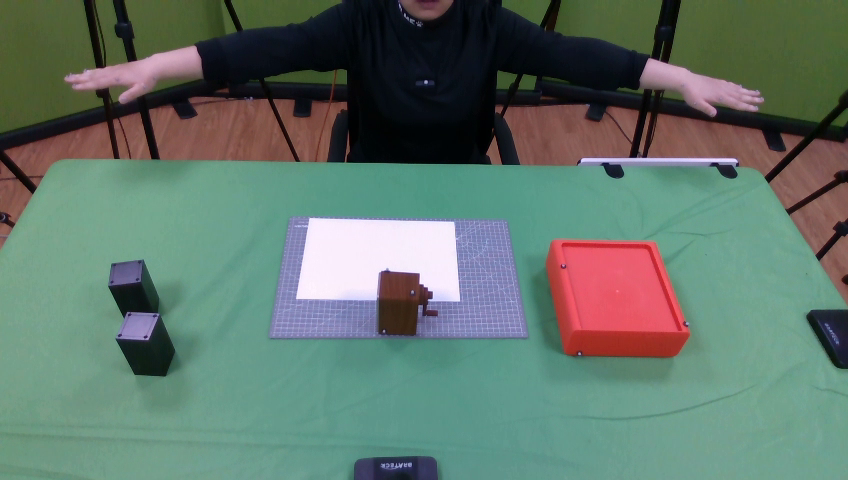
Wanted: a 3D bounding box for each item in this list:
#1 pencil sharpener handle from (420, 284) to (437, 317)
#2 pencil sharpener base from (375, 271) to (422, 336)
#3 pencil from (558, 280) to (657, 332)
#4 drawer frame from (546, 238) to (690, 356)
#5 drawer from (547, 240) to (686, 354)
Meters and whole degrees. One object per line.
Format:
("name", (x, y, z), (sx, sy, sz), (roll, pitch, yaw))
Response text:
("pencil sharpener handle", (0.009, 0.104, 1.017), (0.030, 0.068, 0.036), (3, 40, -2))
("pencil sharpener base", (-0.043, 0.109, 1.025), (0.077, 0.107, 0.061), (3, 45, -2))
("pencil", (0.334, 0.121, 1.104), (0.193, 0.012, 0.012), (27, 50, 14))
("drawer frame", (0.337, 0.098, 1.084), (0.202, 0.083, 0.212), (1, 46, -4))
("drawer", (0.336, 0.098, 1.087), (0.194, 0.073, 0.210), (2, 46, -3))
